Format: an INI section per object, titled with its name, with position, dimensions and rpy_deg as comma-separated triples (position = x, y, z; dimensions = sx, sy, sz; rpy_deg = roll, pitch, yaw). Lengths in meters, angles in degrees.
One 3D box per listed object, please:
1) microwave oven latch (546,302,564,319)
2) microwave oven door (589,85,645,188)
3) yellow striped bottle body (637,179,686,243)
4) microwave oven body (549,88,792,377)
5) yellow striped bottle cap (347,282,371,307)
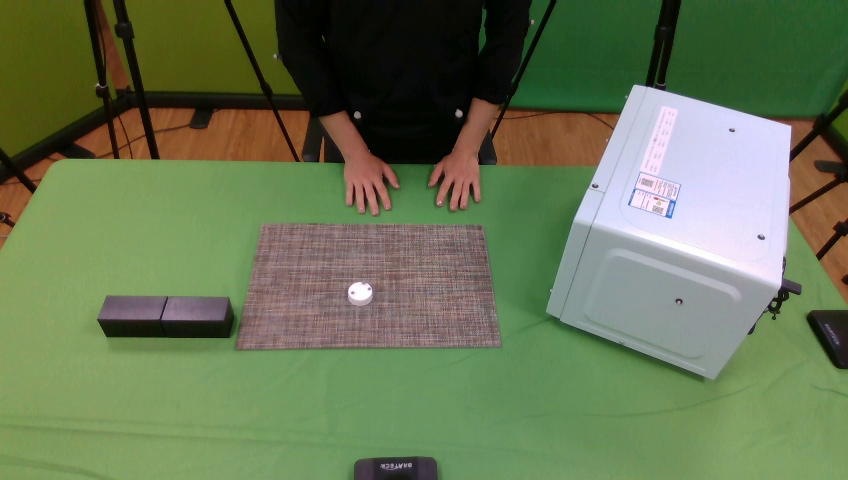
[microwave oven latch]
position = 0.242, 0.102, 1.081
dimensions = 0.030, 0.029, 0.079
rpy_deg = 21, 48, 17
[microwave oven door]
position = 0.341, -0.108, 1.149
dimensions = 0.039, 0.245, 0.354
rpy_deg = 20, 48, 15
[yellow striped bottle body]
position = 0.443, -0.057, 1.126
dimensions = 0.063, 0.121, 0.062
rpy_deg = 1, 47, -1
[microwave oven body]
position = 0.456, -0.028, 1.088
dimensions = 0.325, 0.261, 0.440
rpy_deg = 20, 47, 16
[yellow striped bottle cap]
position = -0.117, 0.098, 1.093
dimensions = 0.044, 0.019, 0.044
rpy_deg = 3, 46, -3
